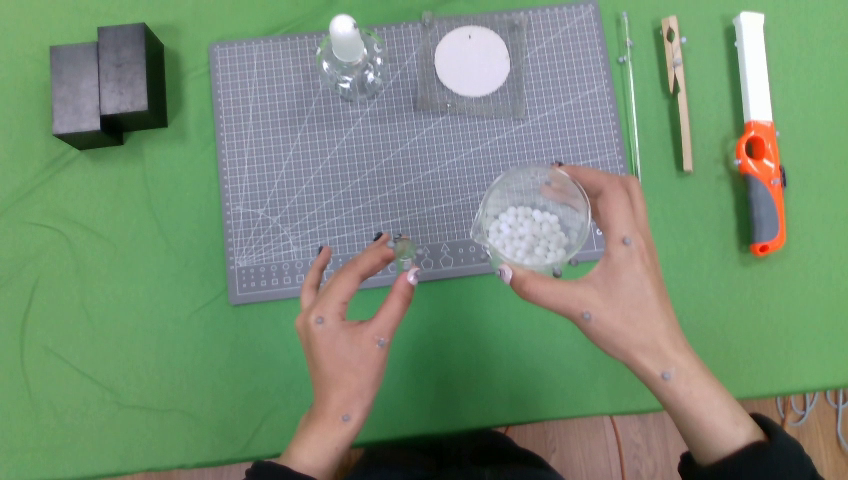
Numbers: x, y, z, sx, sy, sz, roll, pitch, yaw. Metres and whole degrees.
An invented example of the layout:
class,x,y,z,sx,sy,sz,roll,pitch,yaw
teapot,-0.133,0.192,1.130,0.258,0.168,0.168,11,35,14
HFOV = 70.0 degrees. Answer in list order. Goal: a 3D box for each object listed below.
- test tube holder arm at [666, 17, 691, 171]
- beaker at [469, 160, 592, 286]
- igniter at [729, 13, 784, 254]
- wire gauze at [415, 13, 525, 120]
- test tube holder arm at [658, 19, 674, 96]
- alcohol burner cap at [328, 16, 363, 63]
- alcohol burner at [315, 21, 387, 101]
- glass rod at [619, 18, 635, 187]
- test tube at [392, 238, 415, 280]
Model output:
class,x,y,z,sx,sy,sz,roll,pitch,yaw
test tube holder arm,0.287,-0.165,0.685,0.013,0.015,0.178,-9,81,32
beaker,0.076,-0.005,0.451,0.084,0.101,0.073,-17,76,3
igniter,0.369,-0.121,0.676,0.057,0.025,0.275,2,81,-11
wire gauze,0.053,-0.201,0.691,0.125,0.011,0.121,4,82,-1
test tube holder arm,0.279,-0.209,0.694,0.010,0.015,0.087,-9,81,32
alcohol burner cap,-0.079,-0.201,0.599,0.034,0.048,0.033,0,75,0
alcohol burner,-0.079,-0.194,0.634,0.078,0.119,0.077,0,81,2
glass rod,0.231,-0.158,0.688,0.008,0.008,0.199,-1,83,-1
test tube,-0.017,0.017,0.487,0.017,0.150,0.017,0,81,-2
